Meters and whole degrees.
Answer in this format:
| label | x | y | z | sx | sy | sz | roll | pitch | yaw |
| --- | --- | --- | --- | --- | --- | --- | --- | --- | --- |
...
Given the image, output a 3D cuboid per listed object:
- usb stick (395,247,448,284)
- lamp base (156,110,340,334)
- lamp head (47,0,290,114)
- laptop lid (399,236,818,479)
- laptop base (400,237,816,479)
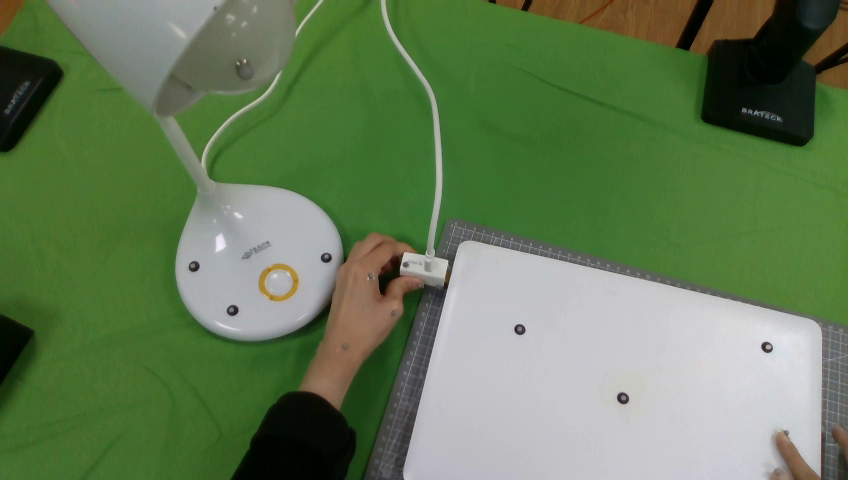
| label | x | y | z | sx | sy | sz | roll | pitch | yaw |
| --- | --- | --- | --- | --- | --- | --- | --- | --- | --- |
| usb stick | 0.003 | 0.026 | 0.584 | 0.059 | 0.027 | 0.021 | 13 | 60 | -2 |
| lamp base | -0.171 | -0.024 | 0.527 | 0.178 | 0.181 | 0.160 | 41 | 71 | 18 |
| lamp head | -0.116 | -0.130 | 0.244 | 0.123 | 0.112 | 0.112 | 41 | 70 | -10 |
| laptop lid | 0.174 | 0.138 | 0.544 | 0.356 | 0.013 | 0.240 | 15 | 70 | 4 |
| laptop base | 0.175 | 0.141 | 0.555 | 0.354 | 0.023 | 0.234 | 13 | 70 | 4 |
